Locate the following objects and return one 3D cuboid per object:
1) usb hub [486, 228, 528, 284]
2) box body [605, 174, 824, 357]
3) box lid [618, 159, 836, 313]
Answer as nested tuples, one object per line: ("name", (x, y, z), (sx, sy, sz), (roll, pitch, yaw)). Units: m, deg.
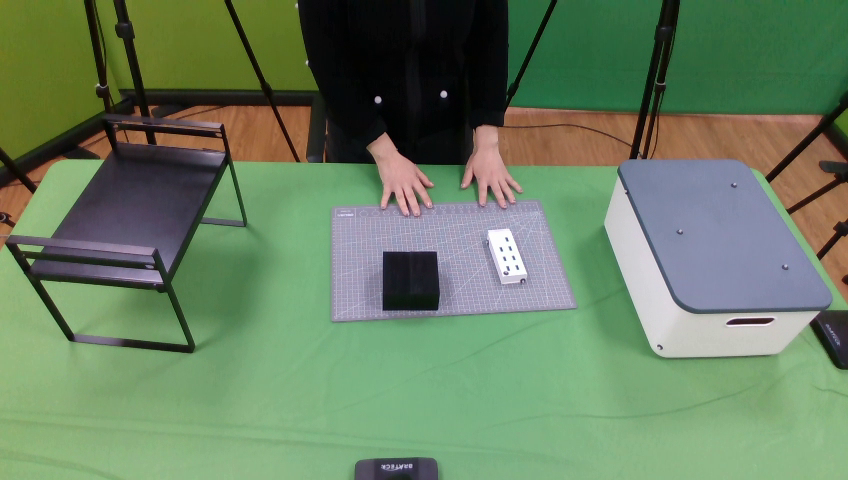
("usb hub", (0.159, 0.029, 1.173), (0.049, 0.025, 0.124), (-6, 47, -9))
("box body", (0.505, 0.028, 1.108), (0.254, 0.161, 0.361), (-1, 46, -4))
("box lid", (0.508, -0.024, 1.056), (0.263, 0.015, 0.369), (-1, 46, -5))
